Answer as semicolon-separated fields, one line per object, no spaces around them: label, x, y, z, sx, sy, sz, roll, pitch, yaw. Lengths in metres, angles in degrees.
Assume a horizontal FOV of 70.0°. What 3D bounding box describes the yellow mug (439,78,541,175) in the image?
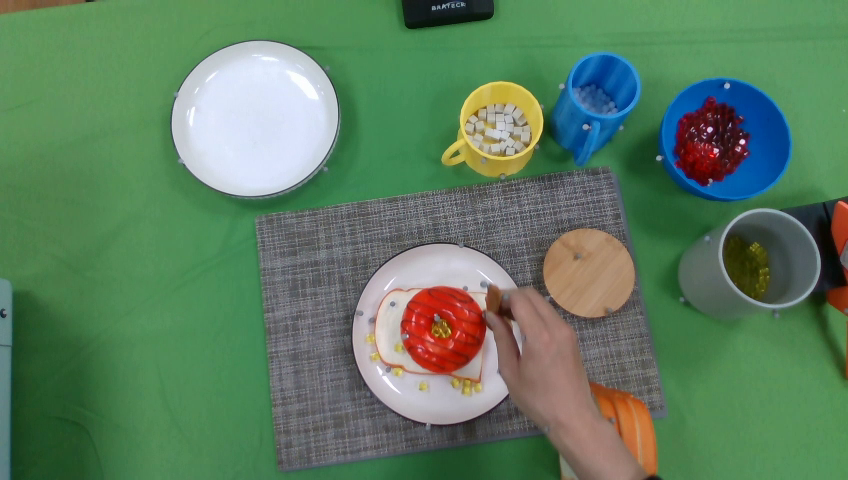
yellow mug;0.076;-0.131;0.741;0.131;0.064;0.099;-29;79;-5

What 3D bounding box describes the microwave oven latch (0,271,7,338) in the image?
microwave oven latch;-0.497;0.073;0.692;0.030;0.029;0.079;-5;79;-1

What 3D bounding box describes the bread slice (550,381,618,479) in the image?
bread slice;0.166;0.201;0.638;0.018;0.134;0.106;0;76;-9

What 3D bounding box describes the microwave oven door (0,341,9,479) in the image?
microwave oven door;-0.473;0.265;0.549;0.039;0.245;0.354;-7;78;-1

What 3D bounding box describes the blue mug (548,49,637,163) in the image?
blue mug;0.196;-0.150;0.726;0.082;0.106;0.116;12;78;3

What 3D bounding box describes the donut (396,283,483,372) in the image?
donut;0.017;0.096;0.675;0.099;0.048;0.098;0;77;1

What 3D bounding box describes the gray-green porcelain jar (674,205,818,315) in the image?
gray-green porcelain jar;0.350;0.028;0.678;0.106;0.127;0.105;0;78;0

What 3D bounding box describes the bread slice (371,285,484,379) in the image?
bread slice;0.004;0.104;0.706;0.131;0.019;0.104;6;77;-2

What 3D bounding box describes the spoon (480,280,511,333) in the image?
spoon;0.069;0.069;0.605;0.041;0.195;0.021;33;82;15

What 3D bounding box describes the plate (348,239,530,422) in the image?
plate;0.018;0.103;0.703;0.209;0.038;0.208;0;78;0

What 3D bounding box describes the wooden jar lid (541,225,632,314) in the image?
wooden jar lid;0.193;0.036;0.727;0.108;0.021;0.108;0;79;0

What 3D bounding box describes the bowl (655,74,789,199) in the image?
bowl;0.345;-0.114;0.732;0.151;0.077;0.150;0;78;0

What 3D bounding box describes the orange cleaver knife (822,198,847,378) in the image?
orange cleaver knife;0.484;0.058;0.694;0.012;0.076;0.212;-11;108;-1

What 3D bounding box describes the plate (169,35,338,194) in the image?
plate;-0.210;-0.155;0.760;0.208;0.039;0.206;0;78;0
